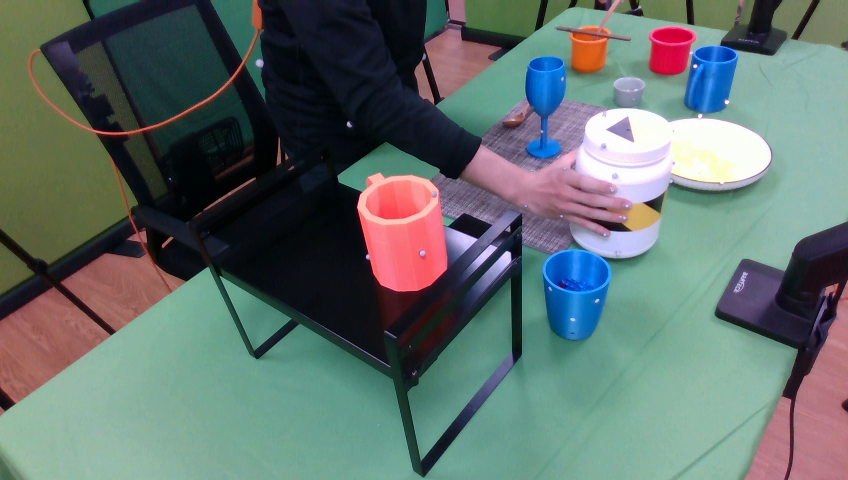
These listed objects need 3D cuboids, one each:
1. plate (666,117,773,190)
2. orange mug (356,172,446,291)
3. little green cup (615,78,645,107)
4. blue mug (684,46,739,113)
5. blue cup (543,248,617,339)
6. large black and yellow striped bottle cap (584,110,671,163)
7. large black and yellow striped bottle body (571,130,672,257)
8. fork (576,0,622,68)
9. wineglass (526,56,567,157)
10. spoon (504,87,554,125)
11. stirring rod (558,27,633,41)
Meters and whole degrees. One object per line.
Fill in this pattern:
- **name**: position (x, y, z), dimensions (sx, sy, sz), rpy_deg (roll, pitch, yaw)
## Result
- **plate**: position (0.495, -0.148, 1.063), dimensions (0.209, 0.038, 0.208), rpy_deg (-5, 40, 4)
- **orange mug**: position (-0.030, -0.018, 0.669), dimensions (0.084, 0.101, 0.125), rpy_deg (-23, 47, -16)
- **little green cup**: position (0.426, -0.306, 1.257), dimensions (0.061, 0.039, 0.061), rpy_deg (-5, 40, 4)
- **blue mug**: position (0.556, -0.310, 1.190), dimensions (0.117, 0.106, 0.081), rpy_deg (-32, 46, -25)
- **blue cup**: position (0.199, 0.076, 0.797), dimensions (0.092, 0.100, 0.092), rpy_deg (-4, 39, 4)
- **large black and yellow striped bottle cap**: position (0.280, -0.145, 0.833), dimensions (0.115, 0.019, 0.114), rpy_deg (-2, 41, 2)
- **large black and yellow striped bottle body**: position (0.287, -0.081, 0.887), dimensions (0.131, 0.185, 0.130), rpy_deg (-4, 40, 4)
- **fork**: position (0.409, -0.484, 1.381), dimensions (0.028, 0.019, 0.207), rpy_deg (37, 101, 45)
- **wineglass**: position (0.222, -0.241, 1.102), dimensions (0.074, 0.173, 0.073), rpy_deg (-5, 41, 4)
- **spoon**: position (0.227, -0.285, 1.269), dimensions (0.041, 0.022, 0.194), rpy_deg (0, 35, 45)
- **stirring rod**: position (0.381, -0.463, 1.356), dimensions (0.175, 0.006, 0.014), rpy_deg (21, 47, 30)
